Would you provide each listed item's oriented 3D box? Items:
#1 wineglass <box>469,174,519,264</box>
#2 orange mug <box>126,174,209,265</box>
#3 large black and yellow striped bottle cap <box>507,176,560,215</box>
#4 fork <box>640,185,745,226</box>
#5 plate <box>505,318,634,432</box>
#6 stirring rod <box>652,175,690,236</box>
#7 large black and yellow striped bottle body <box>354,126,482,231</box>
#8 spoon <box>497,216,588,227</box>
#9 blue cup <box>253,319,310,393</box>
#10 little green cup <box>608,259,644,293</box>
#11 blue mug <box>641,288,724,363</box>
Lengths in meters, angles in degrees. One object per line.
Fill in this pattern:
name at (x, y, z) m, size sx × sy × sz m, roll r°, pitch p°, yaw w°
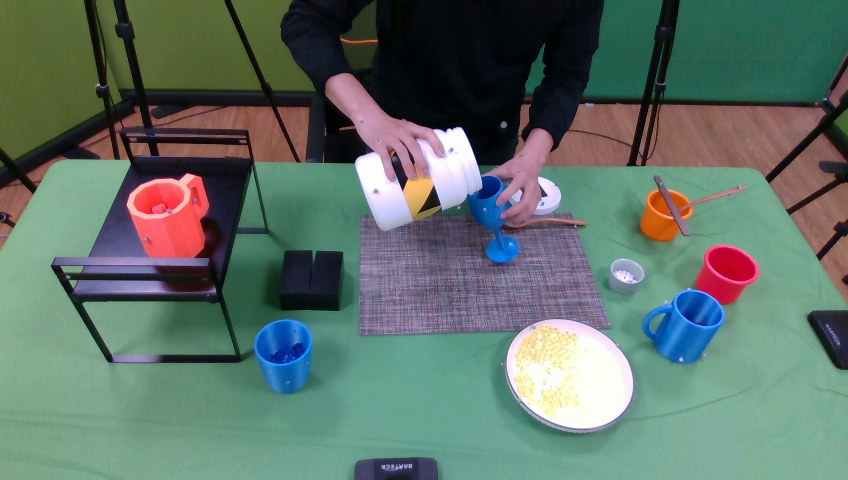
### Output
wineglass at (0.129, -0.038, 1.105) m, size 0.073 × 0.173 × 0.073 m, roll -10°, pitch 48°, yaw 11°
orange mug at (-0.371, -0.039, 0.902) m, size 0.083 × 0.101 × 0.126 m, roll 18°, pitch 51°, yaw 14°
large black and yellow striped bottle cap at (0.237, -0.098, 1.312) m, size 0.115 × 0.019 × 0.114 m, roll 2°, pitch 43°, yaw -2°
fork at (0.534, -0.069, 1.215) m, size 0.207 × 0.019 × 0.028 m, roll -26°, pitch 27°, yaw 33°
plate at (0.235, 0.221, 0.991) m, size 0.209 × 0.038 × 0.208 m, roll 2°, pitch 45°, yaw -2°
stirring rod at (0.492, -0.072, 1.211) m, size 0.014 × 0.006 × 0.175 m, roll -1°, pitch 46°, yaw -6°
large black and yellow striped bottle body at (-0.009, -0.104, 0.994) m, size 0.184 × 0.131 × 0.130 m, roll -20°, pitch 49°, yaw -1°
spoon at (0.245, -0.039, 1.247) m, size 0.194 × 0.022 × 0.041 m, roll -1°, pitch 26°, yaw -6°
blue cup at (-0.217, 0.187, 0.943) m, size 0.093 × 0.101 × 0.092 m, roll 3°, pitch 45°, yaw -3°
little green cup at (0.379, 0.070, 1.147) m, size 0.061 × 0.039 × 0.061 m, roll 3°, pitch 45°, yaw -3°
blue mug at (0.432, 0.144, 1.033) m, size 0.116 × 0.106 × 0.082 m, roll 8°, pitch 46°, yaw 5°
